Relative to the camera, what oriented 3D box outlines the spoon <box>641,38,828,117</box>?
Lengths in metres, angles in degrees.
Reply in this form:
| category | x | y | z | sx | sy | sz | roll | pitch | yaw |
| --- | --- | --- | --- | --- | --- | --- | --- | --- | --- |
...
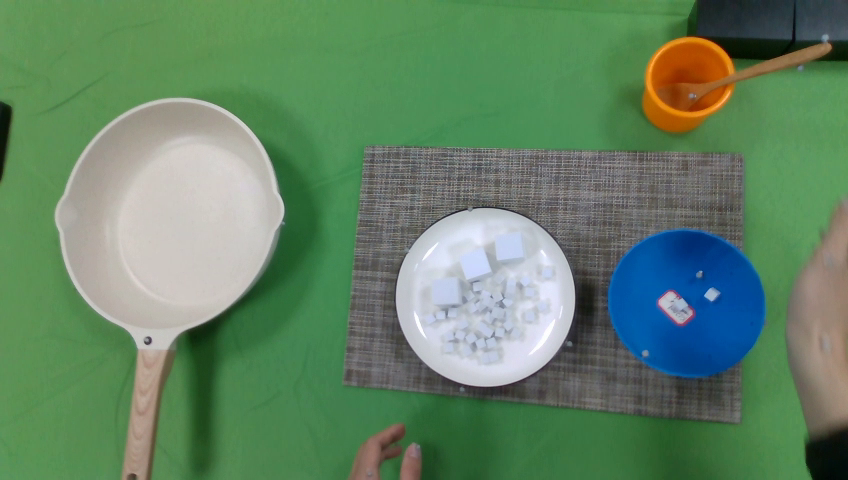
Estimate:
| category | x | y | z | sx | sy | sz | roll | pitch | yaw |
| --- | --- | --- | --- | --- | --- | --- | --- | --- | --- |
| spoon | 0.316 | -0.170 | 0.638 | 0.022 | 0.193 | 0.041 | 1 | 83 | -33 |

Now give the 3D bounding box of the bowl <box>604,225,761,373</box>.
| category | x | y | z | sx | sy | sz | roll | pitch | yaw |
| --- | --- | --- | --- | --- | --- | --- | --- | --- | --- |
| bowl | 0.265 | 0.064 | 0.646 | 0.151 | 0.077 | 0.151 | -1 | 82 | 10 |

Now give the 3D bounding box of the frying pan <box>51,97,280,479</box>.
| category | x | y | z | sx | sy | sz | roll | pitch | yaw |
| --- | --- | --- | --- | --- | --- | --- | --- | --- | --- |
| frying pan | -0.321 | 0.068 | 0.739 | 0.306 | 0.103 | 0.485 | 1 | 74 | 11 |

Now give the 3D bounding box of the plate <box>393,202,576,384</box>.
| category | x | y | z | sx | sy | sz | roll | pitch | yaw |
| --- | --- | --- | --- | --- | --- | --- | --- | --- | --- |
| plate | 0.069 | 0.061 | 0.702 | 0.207 | 0.039 | 0.207 | -2 | 82 | 10 |
